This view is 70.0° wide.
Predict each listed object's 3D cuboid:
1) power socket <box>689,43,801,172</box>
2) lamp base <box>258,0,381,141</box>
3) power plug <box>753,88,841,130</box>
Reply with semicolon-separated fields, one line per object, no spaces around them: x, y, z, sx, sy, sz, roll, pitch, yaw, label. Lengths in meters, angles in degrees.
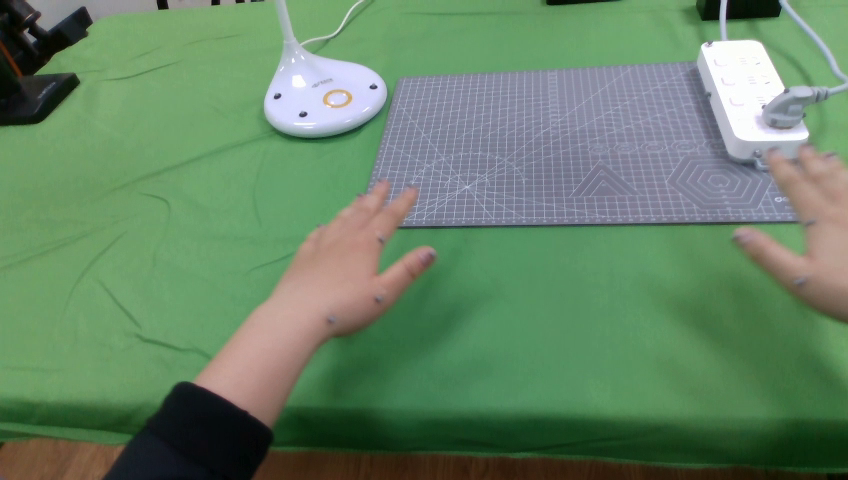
0.350;-0.157;0.674;0.072;0.033;0.224;1;44;9;power socket
-0.154;-0.238;0.742;0.160;0.182;0.177;-37;48;-27;lamp base
0.367;-0.122;0.601;0.072;0.053;0.035;9;46;17;power plug
